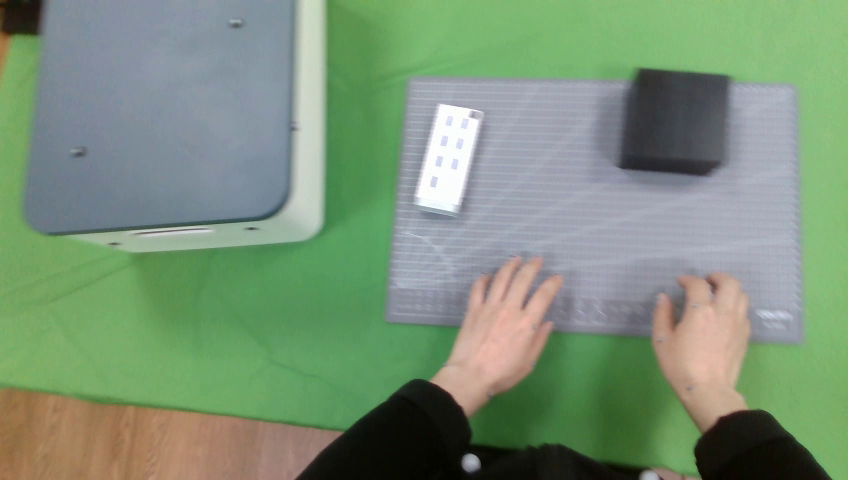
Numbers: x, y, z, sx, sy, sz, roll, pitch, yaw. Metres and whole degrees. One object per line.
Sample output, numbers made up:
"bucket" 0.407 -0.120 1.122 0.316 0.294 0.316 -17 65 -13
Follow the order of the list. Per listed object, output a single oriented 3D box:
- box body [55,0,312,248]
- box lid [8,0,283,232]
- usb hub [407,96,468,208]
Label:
"box body" -0.262 -0.179 0.664 0.254 0.161 0.362 -4 80 3
"box lid" -0.269 -0.192 0.591 0.263 0.015 0.370 -4 79 4
"usb hub" 0.016 -0.101 0.696 0.049 0.025 0.125 11 82 6
